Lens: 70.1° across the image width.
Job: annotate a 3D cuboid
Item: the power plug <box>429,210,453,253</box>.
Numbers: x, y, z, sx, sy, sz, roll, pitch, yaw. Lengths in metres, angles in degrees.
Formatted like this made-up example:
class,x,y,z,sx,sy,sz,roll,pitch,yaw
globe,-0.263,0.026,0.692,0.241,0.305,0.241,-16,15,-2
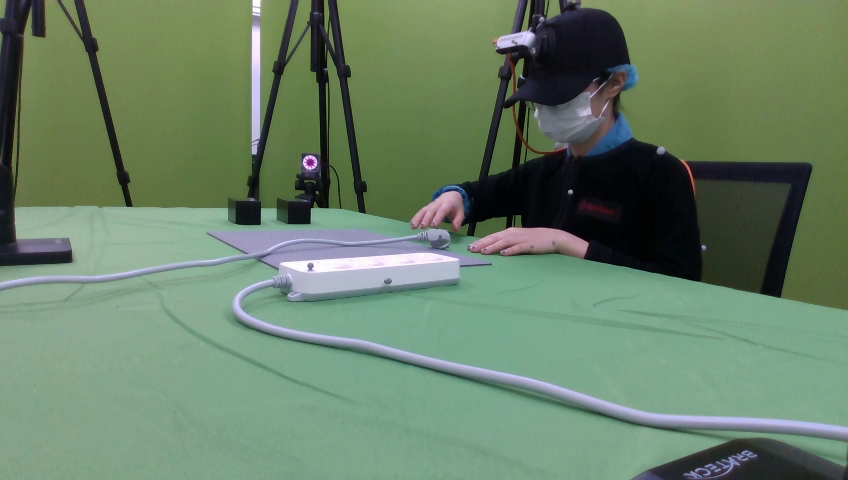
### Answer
class,x,y,z,sx,sy,sz,roll,pitch,yaw
power plug,0.024,-0.013,0.983,0.035,0.072,0.053,16,54,19

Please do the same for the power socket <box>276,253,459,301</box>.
class,x,y,z,sx,sy,sz,roll,pitch,yaw
power socket,-0.056,0.037,0.674,0.228,0.032,0.072,-3,8,-38
